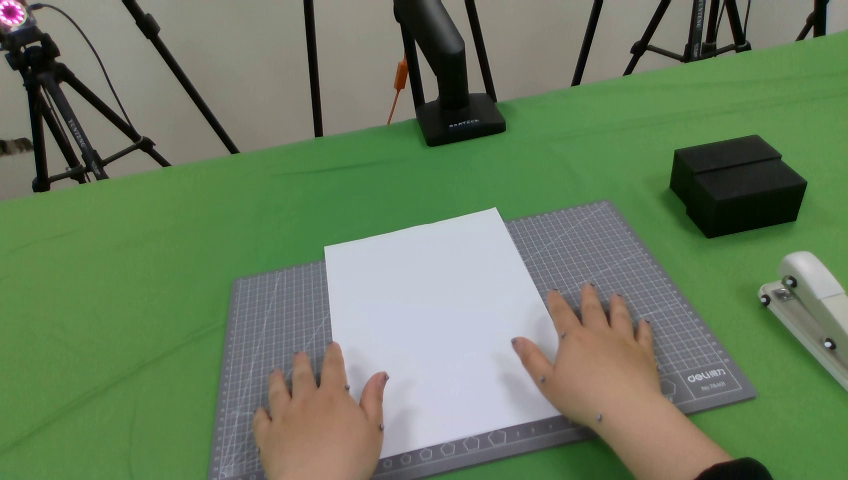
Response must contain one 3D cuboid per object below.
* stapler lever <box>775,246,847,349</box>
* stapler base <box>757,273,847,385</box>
[{"bbox_3d":[0.343,0.051,0.510,0.027,0.040,0.116,-15,39,-3],"label":"stapler lever"},{"bbox_3d":[0.345,0.068,0.526,0.041,0.025,0.129,-15,40,-3],"label":"stapler base"}]
